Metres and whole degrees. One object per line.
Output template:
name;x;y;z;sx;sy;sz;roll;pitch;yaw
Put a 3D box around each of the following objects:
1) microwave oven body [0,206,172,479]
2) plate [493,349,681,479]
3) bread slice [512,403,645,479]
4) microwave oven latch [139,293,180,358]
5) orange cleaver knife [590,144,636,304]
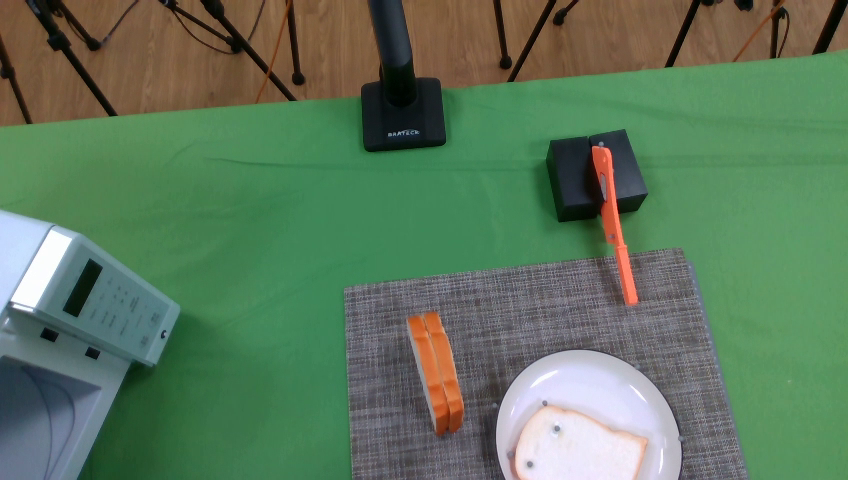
microwave oven body;-0.529;0.187;0.620;0.325;0.262;0.439;15;69;8
plate;0.182;0.230;0.692;0.207;0.039;0.206;-1;66;3
bread slice;0.168;0.247;0.683;0.134;0.018;0.106;19;66;12
microwave oven latch;-0.332;0.104;0.751;0.030;0.030;0.079;16;70;8
orange cleaver knife;0.239;-0.024;0.776;0.012;0.077;0.211;-10;88;1
